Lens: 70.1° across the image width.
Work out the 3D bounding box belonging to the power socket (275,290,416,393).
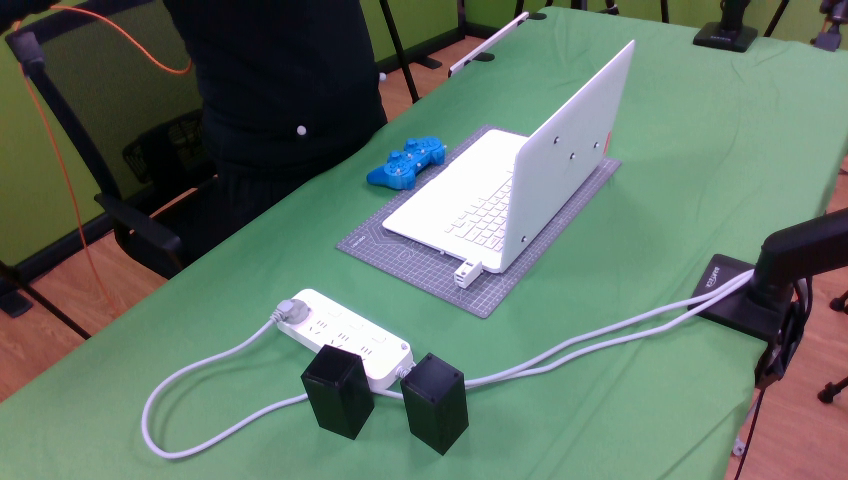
[{"bbox_3d":[-0.114,0.133,0.821,0.225,0.033,0.072,24,48,31],"label":"power socket"}]

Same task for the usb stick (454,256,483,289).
[{"bbox_3d":[0.070,0.044,0.891,0.021,0.027,0.059,22,44,32],"label":"usb stick"}]

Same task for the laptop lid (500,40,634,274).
[{"bbox_3d":[0.218,-0.127,0.905,0.013,0.242,0.358,28,49,25],"label":"laptop lid"}]

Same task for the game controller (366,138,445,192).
[{"bbox_3d":[-0.030,-0.147,1.128,0.096,0.052,0.155,24,50,29],"label":"game controller"}]

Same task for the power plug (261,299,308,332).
[{"bbox_3d":[-0.193,0.110,0.830,0.073,0.053,0.035,-35,48,-24],"label":"power plug"}]

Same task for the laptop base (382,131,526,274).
[{"bbox_3d":[0.123,-0.081,1.049,0.233,0.023,0.355,20,47,33],"label":"laptop base"}]
